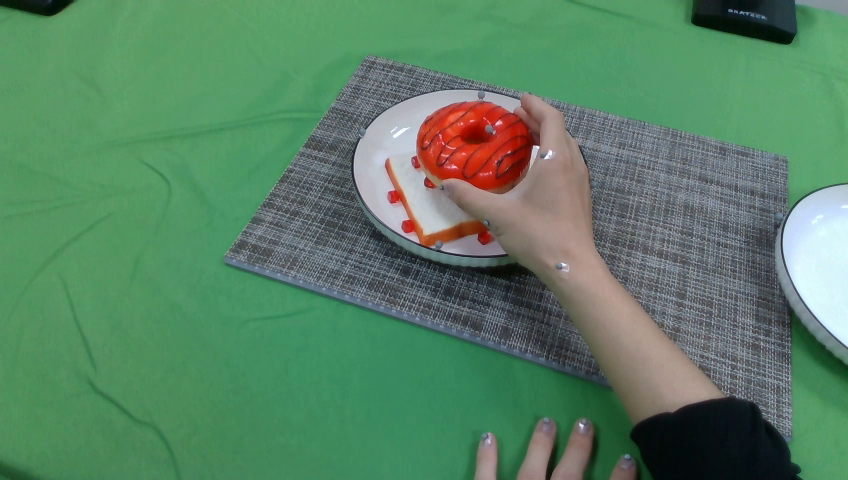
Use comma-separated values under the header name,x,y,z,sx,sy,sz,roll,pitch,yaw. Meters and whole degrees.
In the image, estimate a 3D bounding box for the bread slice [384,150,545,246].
name,x,y,z,sx,sy,sz,roll,pitch,yaw
bread slice,0.040,-0.054,0.541,0.132,0.019,0.104,-17,56,-14

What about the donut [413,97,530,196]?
name,x,y,z,sx,sy,sz,roll,pitch,yaw
donut,0.039,-0.079,0.506,0.099,0.048,0.098,2,55,-2

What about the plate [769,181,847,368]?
name,x,y,z,sx,sy,sz,roll,pitch,yaw
plate,0.382,0.040,0.487,0.208,0.039,0.205,1,53,-1

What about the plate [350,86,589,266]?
name,x,y,z,sx,sy,sz,roll,pitch,yaw
plate,0.038,-0.058,0.542,0.209,0.038,0.207,1,53,-1
